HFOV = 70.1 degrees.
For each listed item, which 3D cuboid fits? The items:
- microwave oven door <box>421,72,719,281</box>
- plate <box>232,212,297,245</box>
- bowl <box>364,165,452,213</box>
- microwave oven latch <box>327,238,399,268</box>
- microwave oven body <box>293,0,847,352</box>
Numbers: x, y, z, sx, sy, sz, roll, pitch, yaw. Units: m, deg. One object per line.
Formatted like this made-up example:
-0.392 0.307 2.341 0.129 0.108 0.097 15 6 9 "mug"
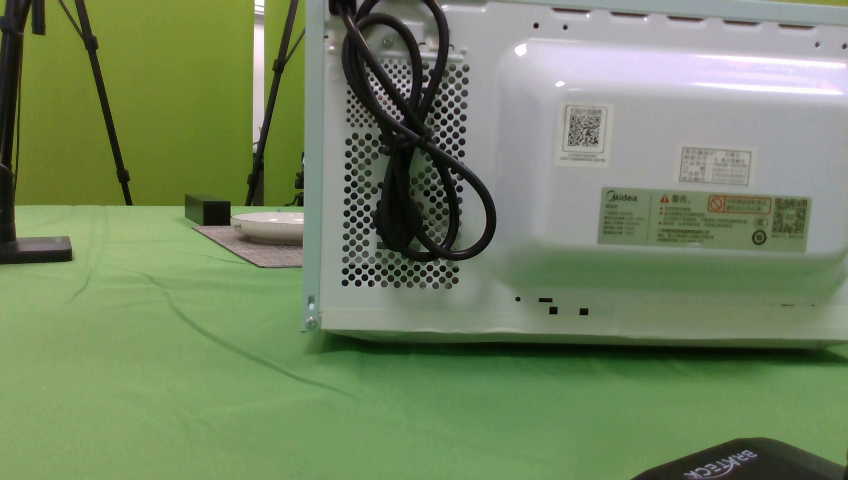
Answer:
0.170 -0.087 0.771 0.355 0.243 0.039 5 8 22 "microwave oven door"
-0.214 -0.019 1.018 0.208 0.039 0.207 3 7 0 "plate"
-0.025 -0.087 1.036 0.151 0.077 0.151 -2 5 0 "bowl"
-0.069 0.015 0.694 0.079 0.029 0.030 3 7 -3 "microwave oven latch"
0.122 -0.055 0.550 0.442 0.260 0.325 3 7 -5 "microwave oven body"
